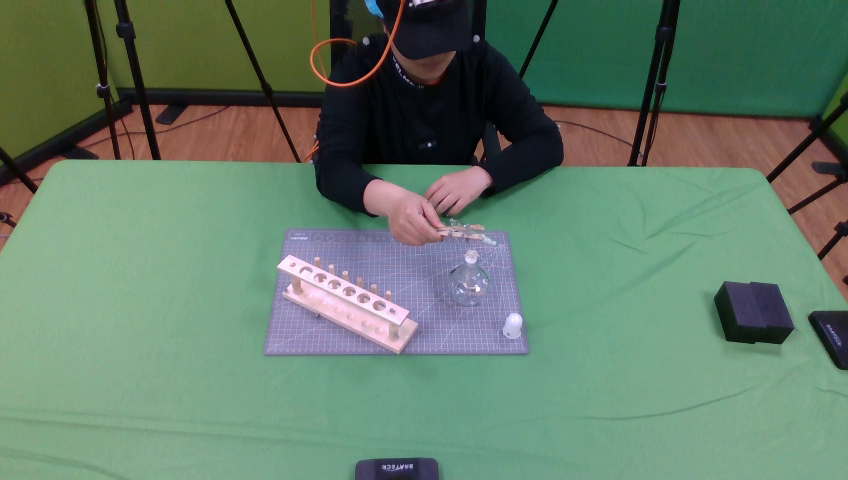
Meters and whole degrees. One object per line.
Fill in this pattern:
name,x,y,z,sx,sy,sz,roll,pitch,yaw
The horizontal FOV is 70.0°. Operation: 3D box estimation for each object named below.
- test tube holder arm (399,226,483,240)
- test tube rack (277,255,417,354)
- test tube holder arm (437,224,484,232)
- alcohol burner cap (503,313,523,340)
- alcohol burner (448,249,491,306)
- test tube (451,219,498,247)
test tube holder arm,0.024,-0.013,1.027,0.178,0.015,0.013,5,77,41
test tube rack,-0.131,0.099,1.045,0.241,0.085,0.066,23,49,17
test tube holder arm,0.059,-0.017,0.999,0.087,0.015,0.010,-5,72,39
alcohol burner cap,0.156,0.148,1.051,0.034,0.048,0.033,1,45,-1
alcohol burner,0.081,0.062,1.078,0.078,0.120,0.077,1,45,-1
test tube,0.086,-0.009,0.999,0.017,0.151,0.017,-8,73,30
